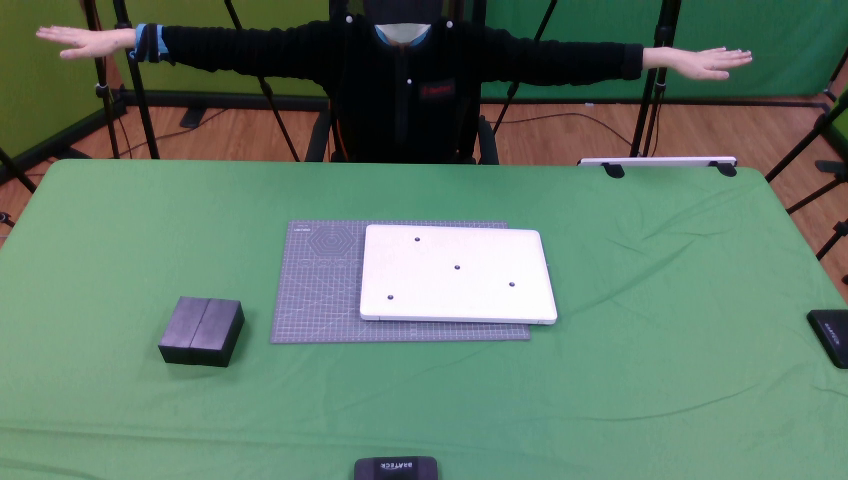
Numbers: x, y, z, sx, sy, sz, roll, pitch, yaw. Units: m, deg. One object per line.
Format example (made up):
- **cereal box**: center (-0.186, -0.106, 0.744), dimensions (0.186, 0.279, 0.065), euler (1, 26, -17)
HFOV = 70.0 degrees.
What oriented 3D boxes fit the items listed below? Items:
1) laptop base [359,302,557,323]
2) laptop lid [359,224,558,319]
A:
- **laptop base**: center (0.061, 0.063, 1.145), dimensions (0.355, 0.023, 0.234), euler (2, 43, -3)
- **laptop lid**: center (0.061, 0.053, 1.137), dimensions (0.357, 0.013, 0.240), euler (3, 44, -2)
